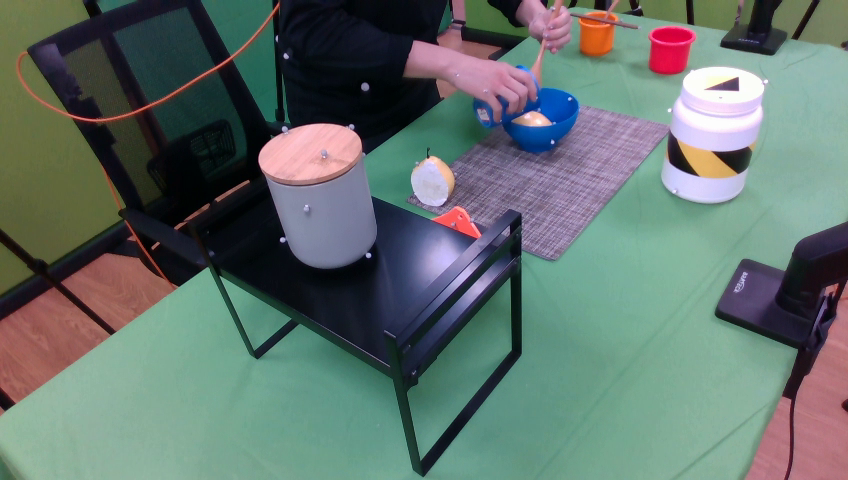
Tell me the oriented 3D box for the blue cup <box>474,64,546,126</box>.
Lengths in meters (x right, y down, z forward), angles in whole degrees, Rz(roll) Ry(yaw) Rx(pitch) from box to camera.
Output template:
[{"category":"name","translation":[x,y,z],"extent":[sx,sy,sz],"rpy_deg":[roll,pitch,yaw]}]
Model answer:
[{"category":"blue cup","translation":[0.145,-0.251,1.073],"extent":[0.100,0.093,0.092],"rpy_deg":[-31,45,-15]}]

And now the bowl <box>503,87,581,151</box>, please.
[{"category":"bowl","translation":[0.220,-0.223,1.155],"extent":[0.151,0.077,0.150],"rpy_deg":[-4,40,4]}]

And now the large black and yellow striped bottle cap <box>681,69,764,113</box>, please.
[{"category":"large black and yellow striped bottle cap","translation":[0.453,-0.229,0.921],"extent":[0.115,0.019,0.114],"rpy_deg":[-4,39,4]}]

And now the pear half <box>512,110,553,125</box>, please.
[{"category":"pear half","translation":[0.212,-0.228,1.152],"extent":[0.088,0.031,0.070],"rpy_deg":[7,47,10]}]

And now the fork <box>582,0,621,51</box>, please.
[{"category":"fork","translation":[0.446,-0.539,1.438],"extent":[0.207,0.019,0.028],"rpy_deg":[-57,36,12]}]

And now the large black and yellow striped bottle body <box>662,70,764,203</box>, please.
[{"category":"large black and yellow striped bottle body","translation":[0.464,-0.166,0.976],"extent":[0.131,0.185,0.130],"rpy_deg":[-5,41,5]}]

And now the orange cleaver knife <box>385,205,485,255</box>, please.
[{"category":"orange cleaver knife","translation":[0.012,-0.010,0.942],"extent":[0.012,0.077,0.210],"rpy_deg":[-36,19,-35]}]

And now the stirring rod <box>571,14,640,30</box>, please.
[{"category":"stirring rod","translation":[0.419,-0.508,1.404],"extent":[0.174,0.006,0.014],"rpy_deg":[28,55,35]}]

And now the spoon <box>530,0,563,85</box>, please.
[{"category":"spoon","translation":[0.207,-0.336,1.067],"extent":[0.041,0.193,0.021],"rpy_deg":[18,14,4]}]

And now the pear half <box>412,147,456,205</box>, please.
[{"category":"pear half","translation":[0.019,-0.120,1.042],"extent":[0.076,0.110,0.056],"rpy_deg":[11,44,16]}]

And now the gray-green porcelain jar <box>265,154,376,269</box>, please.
[{"category":"gray-green porcelain jar","translation":[-0.112,-0.039,0.685],"extent":[0.106,0.127,0.105],"rpy_deg":[-4,40,4]}]

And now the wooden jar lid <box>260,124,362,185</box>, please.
[{"category":"wooden jar lid","translation":[-0.119,-0.088,0.645],"extent":[0.108,0.021,0.108],"rpy_deg":[-4,40,4]}]
